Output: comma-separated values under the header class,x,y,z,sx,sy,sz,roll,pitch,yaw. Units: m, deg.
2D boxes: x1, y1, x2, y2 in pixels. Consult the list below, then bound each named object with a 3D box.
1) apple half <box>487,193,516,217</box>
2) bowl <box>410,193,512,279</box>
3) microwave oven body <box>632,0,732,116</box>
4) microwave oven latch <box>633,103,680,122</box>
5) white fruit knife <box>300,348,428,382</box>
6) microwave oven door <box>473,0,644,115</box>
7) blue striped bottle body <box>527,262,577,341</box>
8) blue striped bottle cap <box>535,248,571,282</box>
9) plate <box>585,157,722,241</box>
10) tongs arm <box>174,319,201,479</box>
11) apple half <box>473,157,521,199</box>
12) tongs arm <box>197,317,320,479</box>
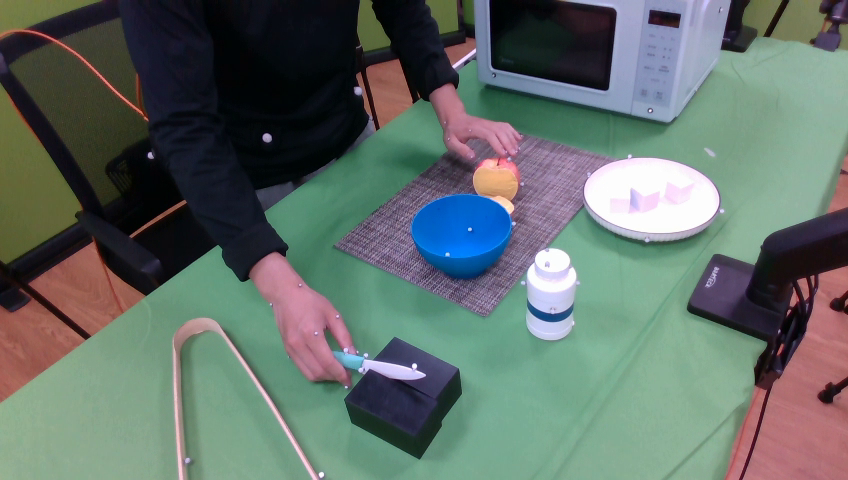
class,x,y,z,sx,sy,sz,roll,pitch,yaw
apple half,0.115,-0.042,0.983,0.081,0.033,0.081,-15,34,11
bowl,0.058,0.005,0.905,0.151,0.077,0.150,-4,40,4
microwave oven body,0.377,-0.462,1.267,0.438,0.261,0.327,21,49,30
microwave oven latch,0.444,-0.249,1.157,0.078,0.029,0.030,21,49,30
white fruit knife,-0.079,0.154,0.748,0.206,0.027,0.016,1,20,34
microwave oven door,0.257,-0.396,1.199,0.353,0.245,0.039,21,48,29
blue striped bottle body,0.165,0.070,0.786,0.063,0.121,0.063,-4,41,4
blue striped bottle cap,0.161,0.031,0.753,0.044,0.021,0.044,-4,42,4
plate,0.367,-0.063,0.979,0.207,0.039,0.206,-4,40,4
tongs arm,-0.272,0.234,0.723,0.051,0.026,0.381,-19,40,-15
apple half,0.127,-0.106,1.030,0.080,0.075,0.053,4,37,19
tongs arm,-0.199,0.207,0.750,0.028,0.028,0.384,-31,45,-22
